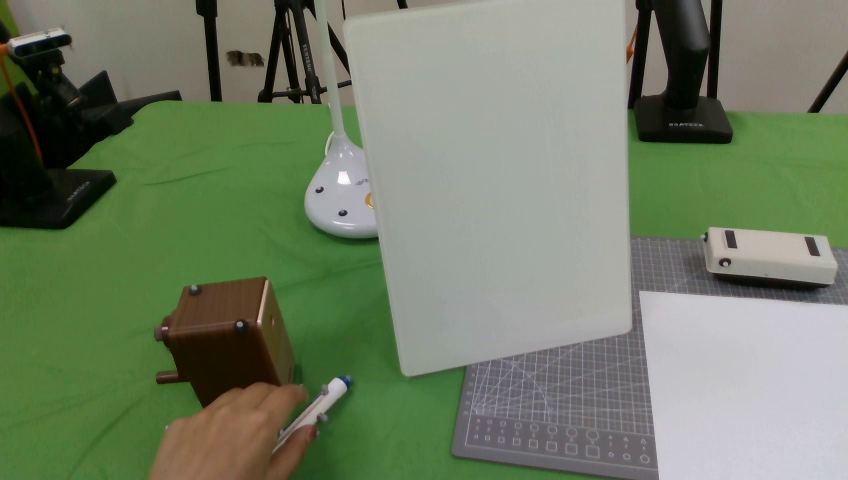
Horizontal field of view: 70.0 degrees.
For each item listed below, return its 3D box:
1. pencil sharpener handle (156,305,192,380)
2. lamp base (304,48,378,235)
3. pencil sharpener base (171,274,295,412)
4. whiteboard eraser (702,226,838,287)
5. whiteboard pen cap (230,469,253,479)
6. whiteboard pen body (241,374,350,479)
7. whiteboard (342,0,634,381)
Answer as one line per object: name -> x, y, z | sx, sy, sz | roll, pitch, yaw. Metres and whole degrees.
pencil sharpener handle -> -0.211, 0.087, 0.499 | 0.030, 0.068, 0.035 | -6, 26, -1
lamp base -> -0.082, -0.123, 0.714 | 0.161, 0.182, 0.177 | -28, 41, -26
pencil sharpener base -> -0.159, 0.089, 0.511 | 0.077, 0.108, 0.060 | -6, 39, -1
whiteboard eraser -> 0.337, 0.016, 0.597 | 0.112, 0.042, 0.055 | 6, 41, 14
whiteboard pen cap -> -0.143, 0.187, 0.451 | 0.018, 0.018, 0.033 | 20, 41, 29
whiteboard pen body -> -0.109, 0.157, 0.490 | 0.017, 0.017, 0.140 | 21, 43, 30
whiteboard -> 0.058, -0.057, 0.560 | 0.217, 0.307, 0.143 | -10, 19, -5
